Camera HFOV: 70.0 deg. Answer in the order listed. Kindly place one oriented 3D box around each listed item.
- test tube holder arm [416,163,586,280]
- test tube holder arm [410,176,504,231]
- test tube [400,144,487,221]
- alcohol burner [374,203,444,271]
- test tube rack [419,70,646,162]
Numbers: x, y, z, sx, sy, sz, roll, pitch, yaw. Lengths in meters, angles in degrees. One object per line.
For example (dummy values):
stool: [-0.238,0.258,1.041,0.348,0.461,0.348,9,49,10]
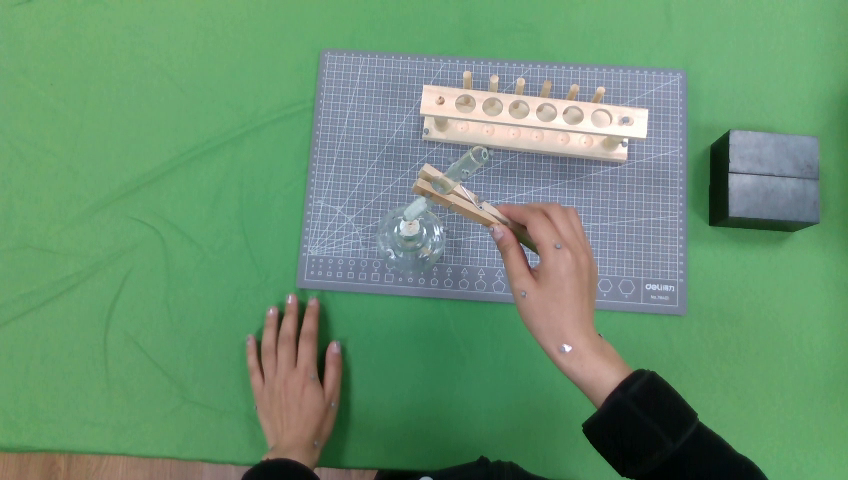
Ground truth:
test tube holder arm: [0.070,-0.014,0.530,0.179,0.015,0.013,31,68,-14]
test tube holder arm: [0.030,-0.030,0.517,0.088,0.015,0.010,24,69,-16]
test tube: [0.011,-0.044,0.512,0.017,0.150,0.017,7,71,-22]
alcohol burner: [-0.017,-0.007,0.655,0.078,0.119,0.077,0,79,-1]
test tube rack: [0.119,-0.147,0.691,0.242,0.085,0.066,7,81,2]
